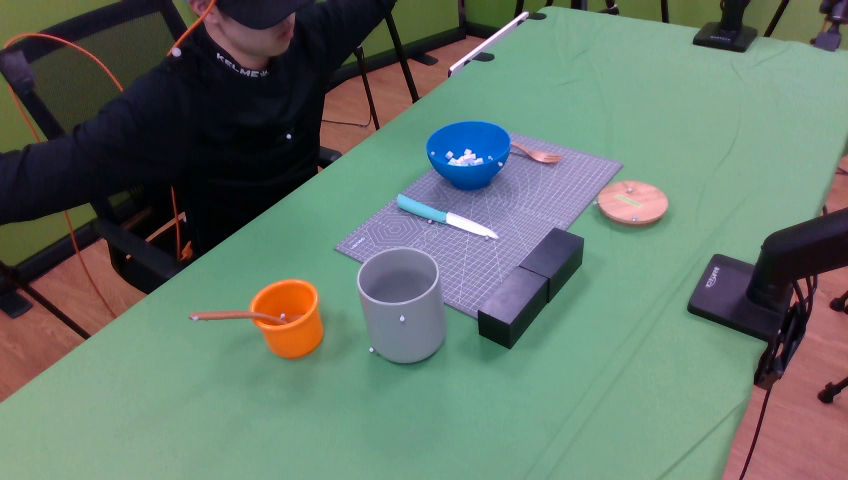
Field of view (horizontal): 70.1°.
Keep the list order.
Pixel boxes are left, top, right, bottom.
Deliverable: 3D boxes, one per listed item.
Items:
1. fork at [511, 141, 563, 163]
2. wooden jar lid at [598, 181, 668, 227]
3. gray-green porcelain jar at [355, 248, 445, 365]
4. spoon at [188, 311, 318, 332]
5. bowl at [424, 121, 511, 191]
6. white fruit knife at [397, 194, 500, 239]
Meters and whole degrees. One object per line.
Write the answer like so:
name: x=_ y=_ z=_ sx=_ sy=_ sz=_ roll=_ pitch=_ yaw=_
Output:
fork: x=0.168 y=-0.178 z=1.150 sx=0.206 sy=0.019 sz=0.028 roll=23 pitch=56 yaw=28
wooden jar lid: x=0.340 y=-0.058 z=0.988 sx=0.108 sy=0.021 sz=0.108 roll=-5 pitch=41 yaw=5
gray-green porcelain jar: x=-0.027 y=0.091 z=0.786 sx=0.106 sy=0.127 sz=0.105 roll=-4 pitch=40 yaw=4
spoon: x=-0.216 y=0.102 z=0.784 sx=0.041 sy=0.195 sz=0.021 roll=26 pitch=95 yaw=39
bowl: x=0.080 y=-0.141 z=1.074 sx=0.151 sy=0.077 sz=0.150 roll=-4 pitch=40 yaw=4
white fruit knife: x=0.036 y=-0.037 z=1.007 sx=0.206 sy=0.016 sz=0.027 roll=21 pitch=62 yaw=28
